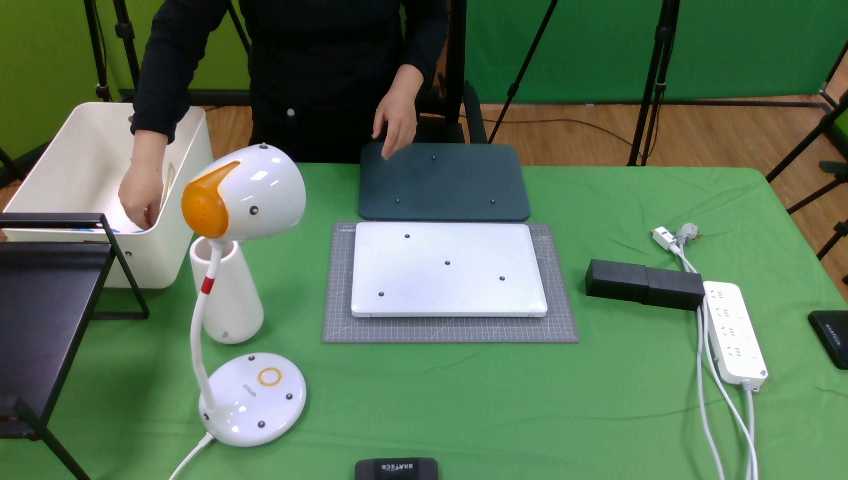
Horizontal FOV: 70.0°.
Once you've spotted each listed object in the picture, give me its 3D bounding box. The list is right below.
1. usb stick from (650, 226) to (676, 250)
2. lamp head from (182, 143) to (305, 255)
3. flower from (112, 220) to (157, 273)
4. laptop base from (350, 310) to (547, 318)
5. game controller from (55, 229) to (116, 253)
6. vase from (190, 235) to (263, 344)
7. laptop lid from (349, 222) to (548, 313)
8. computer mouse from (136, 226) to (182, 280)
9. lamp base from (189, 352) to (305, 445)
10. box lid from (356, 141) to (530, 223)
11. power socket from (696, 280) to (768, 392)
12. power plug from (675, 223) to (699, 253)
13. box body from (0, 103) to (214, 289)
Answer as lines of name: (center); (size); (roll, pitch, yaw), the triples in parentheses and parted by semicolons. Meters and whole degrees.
usb stick: (0.485, -0.008, 1.238); (0.021, 0.027, 0.059); (-22, 44, -13)
lamp head: (-0.216, -0.044, 0.697); (0.112, 0.113, 0.123); (23, 31, 17)
flower: (-0.507, -0.051, 1.171); (0.044, 0.038, 0.359); (-19, 31, 13)
laptop base: (0.041, 0.056, 1.149); (0.355, 0.023, 0.234); (0, 42, -4)
game controller: (-0.597, 0.011, 1.116); (0.155, 0.052, 0.096); (1, 48, -1)
vase: (-0.317, 0.081, 0.971); (0.098, 0.201, 0.097); (3, 47, -3)
laptop lid: (0.042, 0.046, 1.142); (0.357, 0.013, 0.240); (2, 44, -3)
computer mouse: (-0.489, 0.020, 1.117); (0.063, 0.041, 0.116); (1, 55, -7)
lamp base: (-0.268, 0.196, 0.876); (0.160, 0.181, 0.179); (25, 52, 20)
box lid: (0.040, -0.132, 1.339); (0.372, 0.015, 0.261); (0, 46, -4)
power socket: (0.543, 0.160, 1.077); (0.072, 0.033, 0.225); (5, 46, 2)
power plug: (0.537, 0.000, 1.243); (0.053, 0.035, 0.072); (19, 82, -17)
box body: (-0.563, -0.087, 1.139); (0.254, 0.161, 0.361); (2, 46, -3)
